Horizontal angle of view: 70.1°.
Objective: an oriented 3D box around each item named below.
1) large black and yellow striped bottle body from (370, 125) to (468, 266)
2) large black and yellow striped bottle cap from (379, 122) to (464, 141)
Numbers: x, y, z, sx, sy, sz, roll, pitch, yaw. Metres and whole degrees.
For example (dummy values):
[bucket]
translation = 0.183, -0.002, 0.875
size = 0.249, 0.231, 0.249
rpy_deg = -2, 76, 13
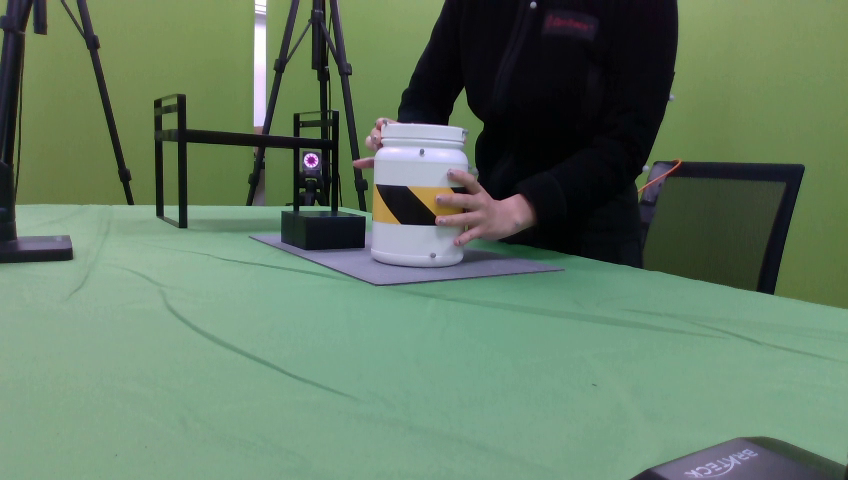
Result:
[large black and yellow striped bottle body]
translation = -0.007, -0.064, 0.830
size = 0.131, 0.184, 0.130
rpy_deg = 2, 7, 0
[large black and yellow striped bottle cap]
translation = -0.003, -0.147, 0.821
size = 0.115, 0.019, 0.115
rpy_deg = 3, 8, 0
